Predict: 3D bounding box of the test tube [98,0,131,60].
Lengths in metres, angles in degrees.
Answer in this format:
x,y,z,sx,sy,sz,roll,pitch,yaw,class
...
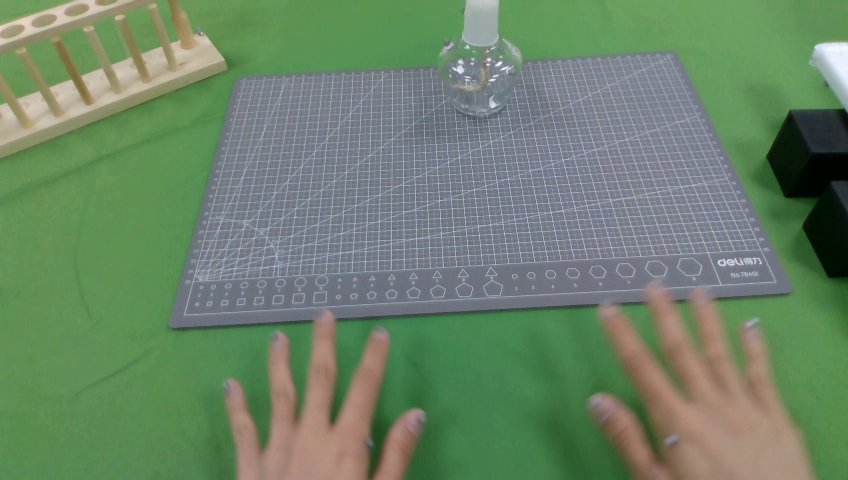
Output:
x,y,z,sx,sy,sz,roll,pitch,yaw,class
-0.303,-0.237,0.567,0.017,0.151,0.017,-1,48,2,test tube

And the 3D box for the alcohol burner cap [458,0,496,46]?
x,y,z,sx,sy,sz,roll,pitch,yaw,class
0.046,-0.195,0.516,0.034,0.048,0.033,0,50,0,alcohol burner cap

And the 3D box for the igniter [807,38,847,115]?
x,y,z,sx,sy,sz,roll,pitch,yaw,class
0.340,-0.062,0.433,0.057,0.025,0.274,-1,49,6,igniter

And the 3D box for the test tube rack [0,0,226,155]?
x,y,z,sx,sy,sz,roll,pitch,yaw,class
-0.328,-0.173,0.581,0.242,0.086,0.066,-28,55,-18,test tube rack

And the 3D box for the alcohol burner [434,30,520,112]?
x,y,z,sx,sy,sz,roll,pitch,yaw,class
0.048,-0.174,0.540,0.078,0.120,0.077,-1,52,1,alcohol burner
